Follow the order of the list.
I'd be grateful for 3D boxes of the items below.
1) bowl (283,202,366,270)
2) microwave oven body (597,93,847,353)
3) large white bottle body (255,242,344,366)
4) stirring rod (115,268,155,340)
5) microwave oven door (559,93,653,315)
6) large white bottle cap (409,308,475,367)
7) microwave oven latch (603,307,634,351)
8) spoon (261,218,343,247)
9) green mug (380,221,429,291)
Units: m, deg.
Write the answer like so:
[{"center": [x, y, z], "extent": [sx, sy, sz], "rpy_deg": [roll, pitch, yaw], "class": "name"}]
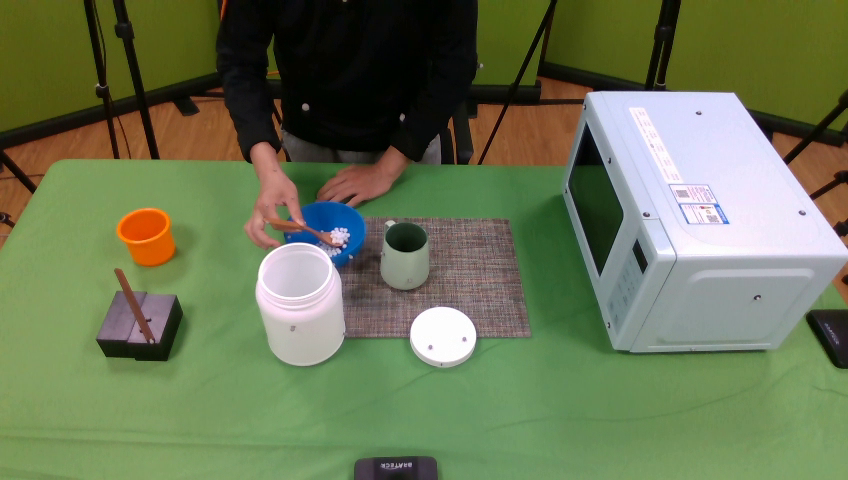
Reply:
[{"center": [-0.185, 0.006, 1.136], "extent": [0.151, 0.077, 0.150], "rpy_deg": [3, 45, -3], "class": "bowl"}, {"center": [0.475, -0.041, 1.109], "extent": [0.326, 0.261, 0.438], "rpy_deg": [-1, 45, -4], "class": "microwave oven body"}, {"center": [-0.196, 0.102, 0.967], "extent": [0.131, 0.185, 0.130], "rpy_deg": [2, 49, -2], "class": "large white bottle body"}, {"center": [-0.478, 0.103, 0.999], "extent": [0.014, 0.006, 0.175], "rpy_deg": [7, 32, -49], "class": "stirring rod"}, {"center": [0.327, -0.074, 1.123], "extent": [0.039, 0.245, 0.353], "rpy_deg": [-1, 46, -5], "class": "microwave oven door"}, {"center": [0.031, 0.165, 1.041], "extent": [0.115, 0.018, 0.114], "rpy_deg": [2, 47, -2], "class": "large white bottle cap"}, {"center": [0.332, 0.153, 1.044], "extent": [0.030, 0.029, 0.078], "rpy_deg": [0, 45, -4], "class": "microwave oven latch"}, {"center": [-0.215, -0.017, 1.087], "extent": [0.021, 0.195, 0.041], "rpy_deg": [-46, 57, 14], "class": "spoon"}, {"center": [-0.043, 0.020, 1.116], "extent": [0.092, 0.105, 0.124], "rpy_deg": [-20, 50, -21], "class": "green mug"}]
